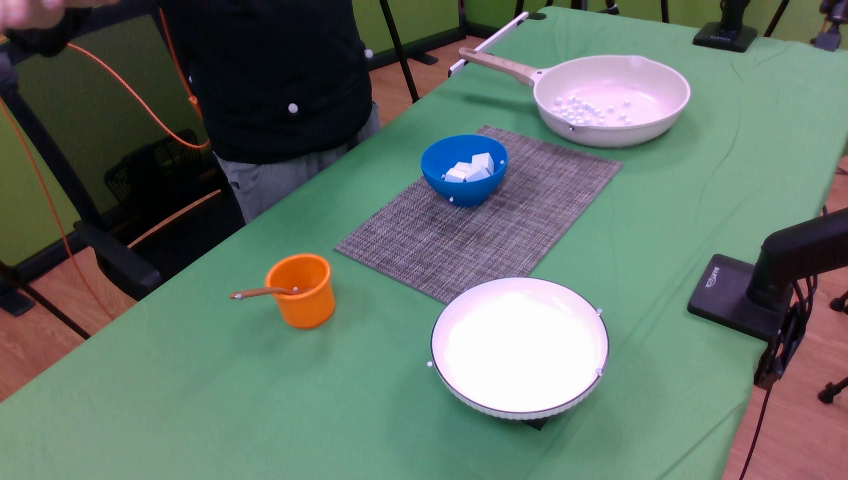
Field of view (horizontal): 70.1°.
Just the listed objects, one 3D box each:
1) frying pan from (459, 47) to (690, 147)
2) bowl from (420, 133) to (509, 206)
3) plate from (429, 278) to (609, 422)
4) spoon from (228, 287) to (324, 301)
[{"bbox_3d":[0.280,-0.317,1.234,0.485,0.103,0.307,28,50,23],"label":"frying pan"},{"bbox_3d":[0.071,-0.112,1.038,0.151,0.077,0.150,-4,40,4],"label":"bowl"},{"bbox_3d":[0.111,0.129,0.716,0.207,0.039,0.206,-5,39,4],"label":"plate"},{"bbox_3d":[-0.197,0.071,0.816,0.041,0.195,0.021,13,88,23],"label":"spoon"}]
